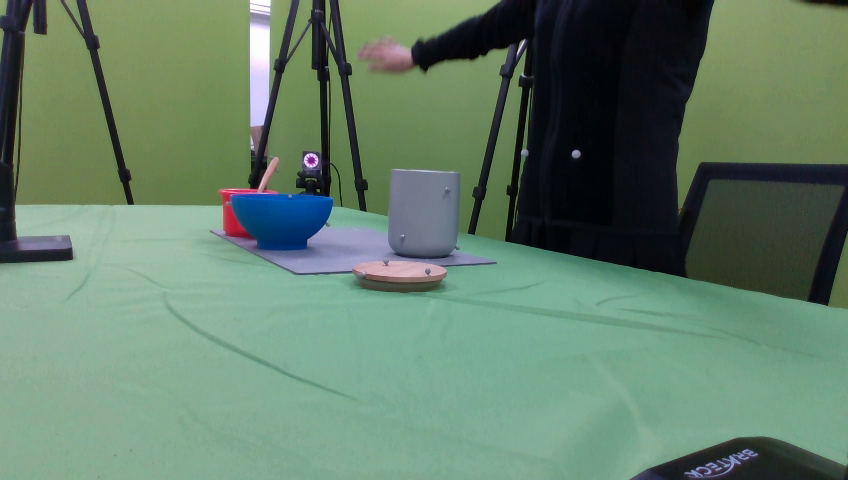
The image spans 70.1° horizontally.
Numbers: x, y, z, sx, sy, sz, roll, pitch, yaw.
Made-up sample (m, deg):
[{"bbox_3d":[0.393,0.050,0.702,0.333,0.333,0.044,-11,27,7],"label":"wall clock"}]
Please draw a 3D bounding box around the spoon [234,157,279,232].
[{"bbox_3d":[-0.287,-0.084,1.066,0.041,0.021,0.193,7,52,6],"label":"spoon"}]

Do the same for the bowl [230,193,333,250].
[{"bbox_3d":[-0.214,-0.028,0.912,0.151,0.077,0.151,2,8,0],"label":"bowl"}]

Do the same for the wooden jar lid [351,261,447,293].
[{"bbox_3d":[-0.028,0.042,0.687,0.108,0.020,0.108,3,8,0],"label":"wooden jar lid"}]

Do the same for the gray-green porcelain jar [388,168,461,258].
[{"bbox_3d":[0.000,-0.041,0.897,0.106,0.126,0.106,2,7,0],"label":"gray-green porcelain jar"}]
